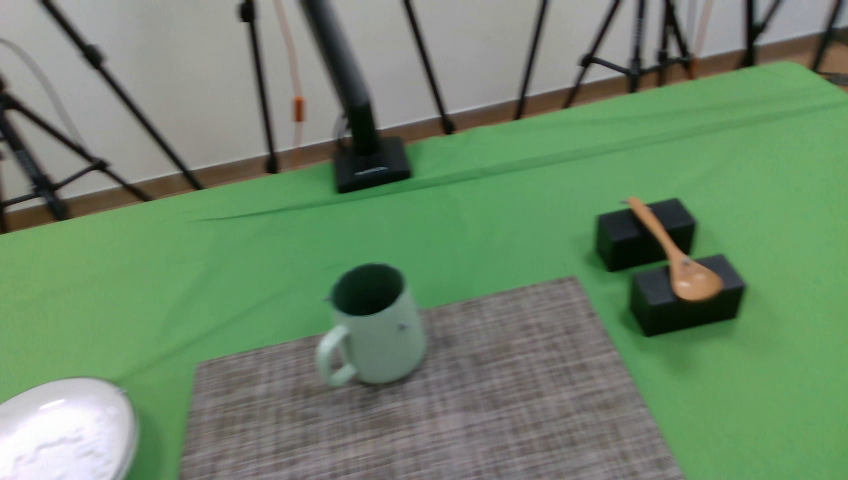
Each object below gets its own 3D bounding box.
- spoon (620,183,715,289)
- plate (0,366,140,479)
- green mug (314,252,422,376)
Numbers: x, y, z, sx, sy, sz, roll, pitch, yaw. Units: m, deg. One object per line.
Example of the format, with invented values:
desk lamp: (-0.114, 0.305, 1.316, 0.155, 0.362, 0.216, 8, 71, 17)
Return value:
spoon: (0.254, -0.012, 0.655, 0.041, 0.022, 0.191, -28, 39, 12)
plate: (-0.381, 0.219, 0.597, 0.209, 0.038, 0.207, -6, 41, 6)
green mug: (-0.062, 0.086, 0.621, 0.092, 0.106, 0.125, 22, 51, 31)
